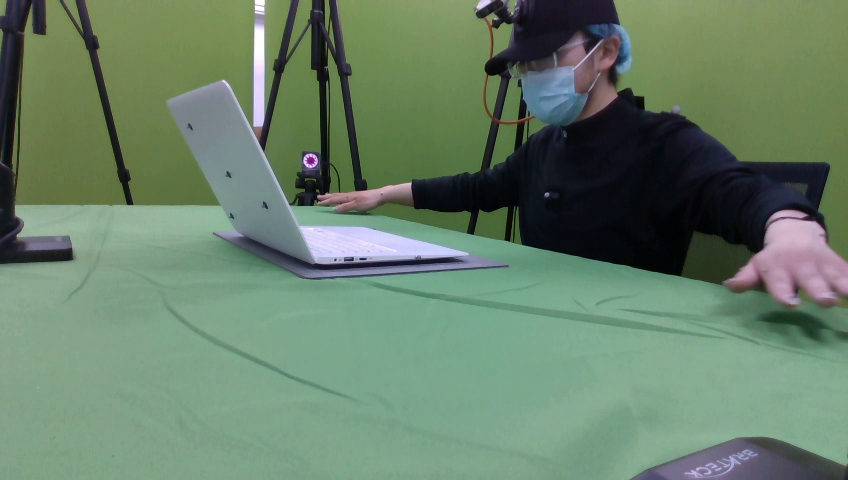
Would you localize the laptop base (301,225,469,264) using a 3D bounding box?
[{"bbox_3d":[-0.124,0.005,0.936,0.237,0.023,0.352,2,6,-33],"label":"laptop base"}]

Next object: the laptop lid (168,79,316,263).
[{"bbox_3d":[-0.264,-0.093,0.831,0.013,0.242,0.355,-33,25,-25],"label":"laptop lid"}]
